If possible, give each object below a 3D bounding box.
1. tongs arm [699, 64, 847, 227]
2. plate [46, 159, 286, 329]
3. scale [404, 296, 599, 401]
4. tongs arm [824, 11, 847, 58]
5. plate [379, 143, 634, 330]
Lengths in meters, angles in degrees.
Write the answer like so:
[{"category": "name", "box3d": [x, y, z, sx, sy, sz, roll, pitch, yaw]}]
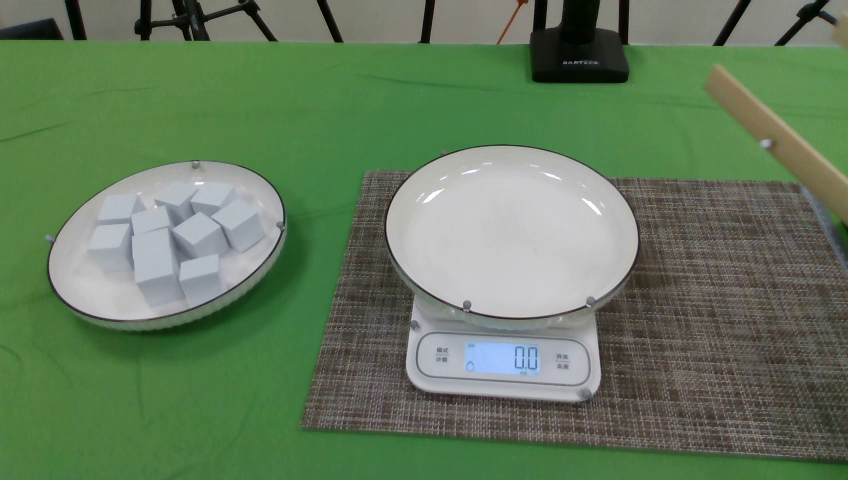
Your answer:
[{"category": "tongs arm", "box3d": [0.303, 0.017, 0.353, 0.028, 0.028, 0.383, -27, 61, -15]}, {"category": "plate", "box3d": [-0.230, 0.003, 0.562, 0.209, 0.038, 0.207, -1, 45, 1]}, {"category": "scale", "box3d": [0.066, 0.039, 0.514, 0.148, 0.032, 0.199, 3, 46, 6]}, {"category": "tongs arm", "box3d": [0.360, -0.008, 0.361, 0.051, 0.027, 0.381, -21, 60, -8]}, {"category": "plate", "box3d": [0.067, -0.005, 0.510, 0.208, 0.039, 0.205, 0, 46, 1]}]
